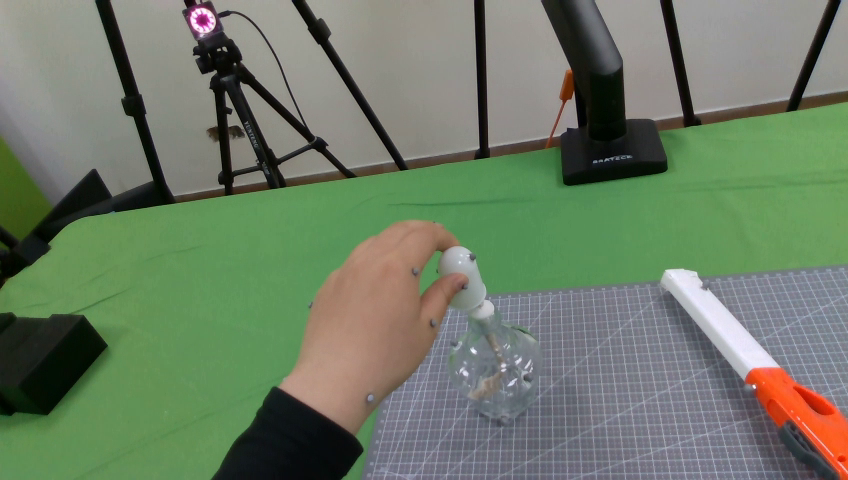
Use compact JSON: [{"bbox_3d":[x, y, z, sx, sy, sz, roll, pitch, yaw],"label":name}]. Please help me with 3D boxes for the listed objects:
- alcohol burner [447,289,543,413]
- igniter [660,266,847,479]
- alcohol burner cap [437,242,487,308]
[{"bbox_3d":[0.053,0.081,0.478,0.078,0.120,0.077,-10,37,8],"label":"alcohol burner"},{"bbox_3d":[0.252,0.102,0.436,0.057,0.025,0.273,1,31,-12],"label":"igniter"},{"bbox_3d":[0.025,0.022,0.430,0.034,0.048,0.033,-8,43,8],"label":"alcohol burner cap"}]
